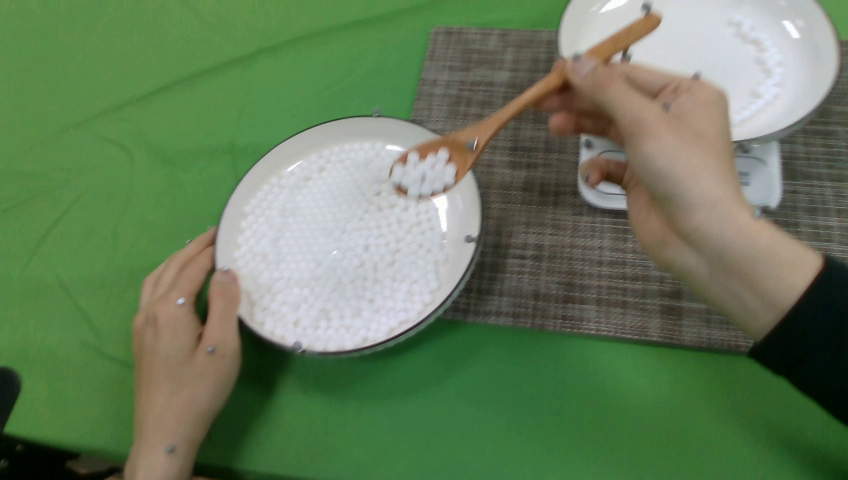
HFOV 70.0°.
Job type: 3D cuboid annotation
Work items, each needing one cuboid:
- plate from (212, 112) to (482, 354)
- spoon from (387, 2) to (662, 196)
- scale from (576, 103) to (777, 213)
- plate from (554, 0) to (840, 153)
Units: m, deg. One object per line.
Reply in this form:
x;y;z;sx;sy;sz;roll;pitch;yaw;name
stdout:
-0.058;-0.008;0.471;0.209;0.038;0.207;-3;62;7;plate
0.061;-0.087;0.372;0.194;0.022;0.041;-33;68;10;spoon
0.204;-0.116;0.500;0.148;0.032;0.199;5;63;10;scale
0.207;-0.150;0.480;0.207;0.039;0.206;-3;61;5;plate
